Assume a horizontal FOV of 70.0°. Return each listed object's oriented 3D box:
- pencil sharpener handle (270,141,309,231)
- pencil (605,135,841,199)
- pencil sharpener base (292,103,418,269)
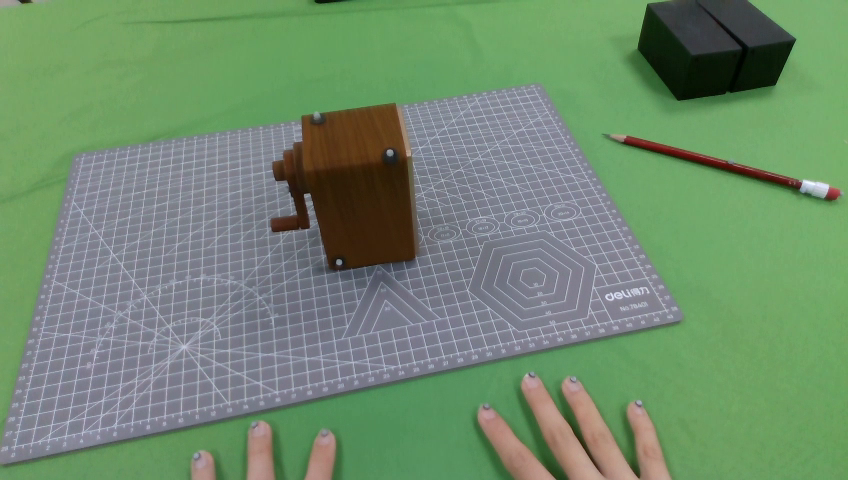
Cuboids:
[{"bbox_3d":[-0.098,-0.035,0.422,0.031,0.068,0.035,-9,38,-4],"label":"pencil sharpener handle"},{"bbox_3d":[0.252,-0.067,0.525,0.193,0.012,0.012,19,52,20],"label":"pencil"},{"bbox_3d":[-0.047,-0.036,0.438,0.077,0.108,0.060,-8,49,-5],"label":"pencil sharpener base"}]
